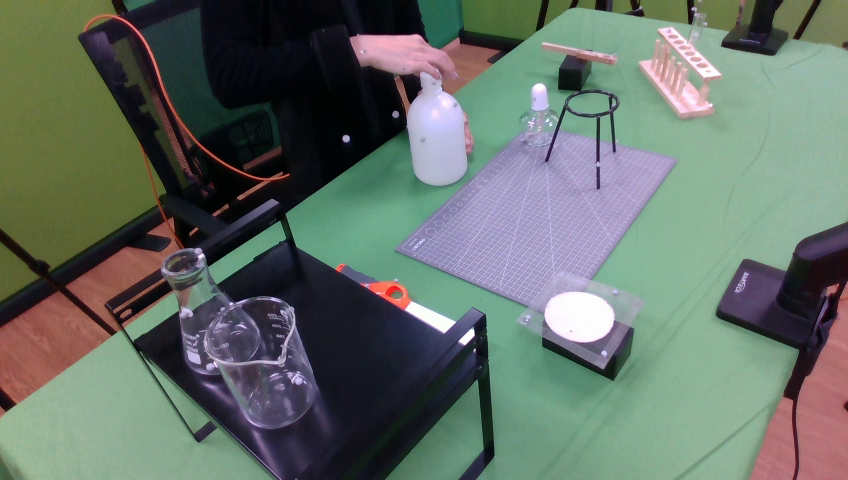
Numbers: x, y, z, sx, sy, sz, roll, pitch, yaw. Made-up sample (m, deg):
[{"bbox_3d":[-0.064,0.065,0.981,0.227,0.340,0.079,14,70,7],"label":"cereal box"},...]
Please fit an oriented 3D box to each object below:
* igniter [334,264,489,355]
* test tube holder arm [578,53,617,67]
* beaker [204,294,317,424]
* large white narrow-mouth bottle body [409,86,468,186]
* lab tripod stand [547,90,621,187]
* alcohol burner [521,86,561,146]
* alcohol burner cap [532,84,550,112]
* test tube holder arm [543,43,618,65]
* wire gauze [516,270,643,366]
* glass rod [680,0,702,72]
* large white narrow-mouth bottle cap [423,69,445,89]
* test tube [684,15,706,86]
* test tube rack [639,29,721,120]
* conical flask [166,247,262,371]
[{"bbox_3d":[-0.030,0.095,0.871,0.274,0.025,0.057,22,59,31],"label":"igniter"},{"bbox_3d":[0.376,-0.393,1.314,0.087,0.015,0.010,25,50,32],"label":"test tube holder arm"},{"bbox_3d":[-0.137,0.110,0.536,0.083,0.101,0.074,30,53,36],"label":"beaker"},{"bbox_3d":[0.024,-0.201,1.082,0.102,0.195,0.101,-4,40,4],"label":"large white narrow-mouth bottle body"},{"bbox_3d":[0.288,-0.184,1.062,0.148,0.132,0.147,-6,41,6],"label":"lab tripod stand"},{"bbox_3d":[0.223,-0.241,1.155,0.078,0.119,0.077,-5,43,5],"label":"alcohol burner"},{"bbox_3d":[0.218,-0.269,1.133,0.034,0.048,0.033,-8,36,7],"label":"alcohol burner cap"},{"bbox_3d":[0.344,-0.413,1.340,0.177,0.015,0.013,25,49,31],"label":"test tube holder arm"},{"bbox_3d":[0.200,0.093,0.777,0.124,0.011,0.122,23,49,32],"label":"wire gauze"},{"bbox_3d":[0.542,-0.417,1.233,0.008,0.200,0.008,1,40,0],"label":"glass rod"},{"bbox_3d":[0.016,-0.272,1.020,0.038,0.024,0.037,-4,40,4],"label":"large white narrow-mouth bottle cap"},{"bbox_3d":[0.540,-0.378,1.215,0.017,0.151,0.017,-2,44,3],"label":"test tube"},{"bbox_3d":[0.527,-0.351,1.262,0.067,0.085,0.241,-8,40,1],"label":"test tube rack"},{"bbox_3d":[-0.208,0.064,0.584,0.075,0.122,0.075,-5,40,4],"label":"conical flask"}]
